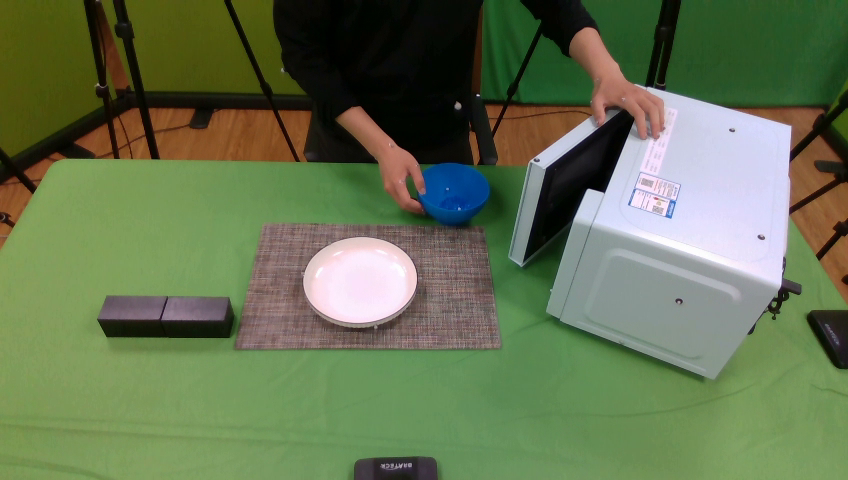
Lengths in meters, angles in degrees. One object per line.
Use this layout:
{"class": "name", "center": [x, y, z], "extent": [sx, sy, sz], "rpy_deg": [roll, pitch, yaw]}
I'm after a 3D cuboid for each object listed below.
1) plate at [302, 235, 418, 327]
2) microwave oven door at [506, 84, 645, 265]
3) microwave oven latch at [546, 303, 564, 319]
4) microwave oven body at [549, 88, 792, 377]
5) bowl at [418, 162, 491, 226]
{"class": "plate", "center": [-0.114, 0.077, 1.098], "extent": [0.208, 0.039, 0.206], "rpy_deg": [2, 46, -2]}
{"class": "microwave oven door", "center": [0.298, -0.130, 1.168], "extent": [0.039, 0.245, 0.355], "rpy_deg": [36, 54, 26]}
{"class": "microwave oven latch", "center": [0.242, 0.102, 1.081], "extent": [0.030, 0.029, 0.079], "rpy_deg": [21, 48, 17]}
{"class": "microwave oven body", "center": [0.456, -0.028, 1.088], "extent": [0.325, 0.261, 0.440], "rpy_deg": [20, 47, 16]}
{"class": "bowl", "center": [0.058, -0.083, 1.245], "extent": [0.151, 0.077, 0.150], "rpy_deg": [6, 45, -6]}
